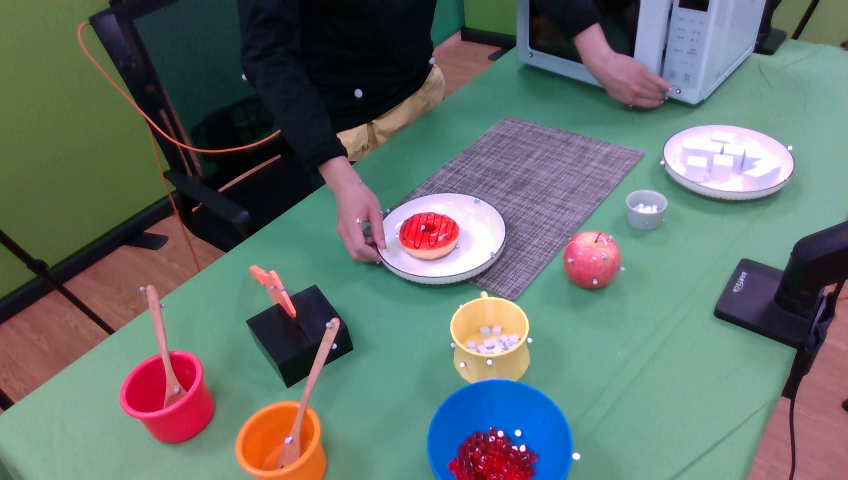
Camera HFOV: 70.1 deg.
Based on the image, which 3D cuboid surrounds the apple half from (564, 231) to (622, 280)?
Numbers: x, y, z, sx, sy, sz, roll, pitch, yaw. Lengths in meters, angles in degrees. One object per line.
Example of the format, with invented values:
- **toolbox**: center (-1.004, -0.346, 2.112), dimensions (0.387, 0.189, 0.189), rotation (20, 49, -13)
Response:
- **apple half**: center (0.248, 0.021, 0.874), dimensions (0.080, 0.075, 0.053), rotation (13, 40, 29)

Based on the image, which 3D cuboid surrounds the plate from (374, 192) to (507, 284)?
- **plate**: center (0.027, 0.000, 0.952), dimensions (0.209, 0.038, 0.208), rotation (-4, 40, 4)

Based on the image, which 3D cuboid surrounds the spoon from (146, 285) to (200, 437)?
- **spoon**: center (-0.319, 0.148, 0.754), dimensions (0.042, 0.021, 0.193), rotation (-14, 85, -12)

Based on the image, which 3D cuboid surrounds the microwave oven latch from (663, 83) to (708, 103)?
- **microwave oven latch**: center (0.519, -0.297, 1.205), dimensions (0.030, 0.029, 0.078), rotation (-35, 47, -28)

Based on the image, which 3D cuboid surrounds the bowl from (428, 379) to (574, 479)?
- **bowl**: center (0.082, 0.233, 0.644), dimensions (0.151, 0.077, 0.150), rotation (-4, 39, 4)

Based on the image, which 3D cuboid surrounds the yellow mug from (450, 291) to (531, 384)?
- **yellow mug**: center (0.085, 0.120, 0.786), dimensions (0.100, 0.064, 0.130), rotation (-7, 39, 1)

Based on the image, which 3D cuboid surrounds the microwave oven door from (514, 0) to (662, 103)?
- **microwave oven door**: center (0.331, -0.445, 1.251), dimensions (0.039, 0.245, 0.352), rotation (-35, 47, -28)

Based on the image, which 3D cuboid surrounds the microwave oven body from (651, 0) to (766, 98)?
- **microwave oven body**: center (0.472, -0.513, 1.317), dimensions (0.438, 0.261, 0.327), rotation (26, 51, 34)

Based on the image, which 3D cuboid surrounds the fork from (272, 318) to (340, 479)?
- **fork**: center (-0.131, 0.186, 0.676), dimensions (0.028, 0.019, 0.207), rotation (17, 90, 28)

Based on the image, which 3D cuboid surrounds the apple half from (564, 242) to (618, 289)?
- **apple half**: center (0.229, 0.044, 0.848), dimensions (0.081, 0.081, 0.033), rotation (16, 41, 26)

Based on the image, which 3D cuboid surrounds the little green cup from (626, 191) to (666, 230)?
- **little green cup**: center (0.352, -0.046, 0.963), dimensions (0.061, 0.039, 0.061), rotation (-4, 40, 4)

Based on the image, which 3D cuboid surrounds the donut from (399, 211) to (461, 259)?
- **donut**: center (0.009, -0.008, 0.948), dimensions (0.099, 0.048, 0.098), rotation (-4, 39, 4)

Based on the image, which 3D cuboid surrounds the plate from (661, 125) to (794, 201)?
- **plate**: center (0.513, -0.128, 1.035), dimensions (0.207, 0.039, 0.206), rotation (-4, 40, 4)

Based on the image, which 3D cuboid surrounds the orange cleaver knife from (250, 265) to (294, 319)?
- **orange cleaver knife**: center (-0.221, 0.073, 0.876), dimensions (0.012, 0.077, 0.210), rotation (-24, 12, -22)
